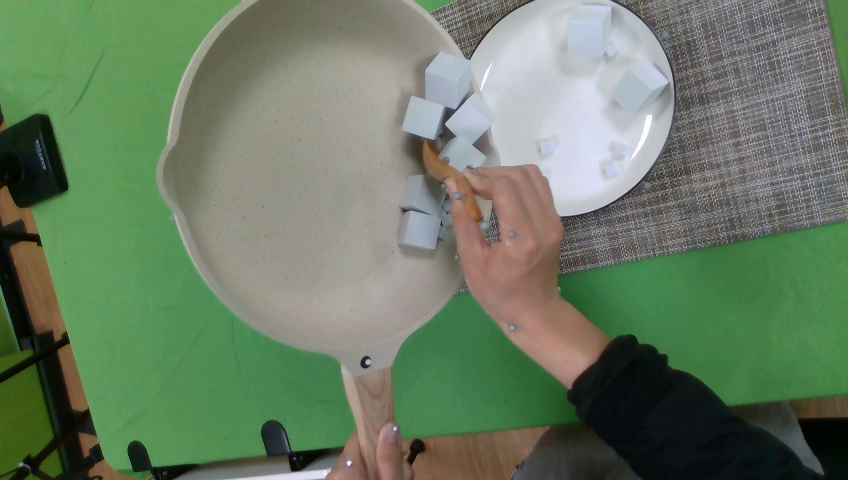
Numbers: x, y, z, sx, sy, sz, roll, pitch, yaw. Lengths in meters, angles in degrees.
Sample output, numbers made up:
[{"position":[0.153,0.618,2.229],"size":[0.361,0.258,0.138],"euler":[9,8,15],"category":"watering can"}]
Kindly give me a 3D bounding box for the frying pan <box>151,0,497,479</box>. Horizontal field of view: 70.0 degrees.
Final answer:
[{"position":[-0.057,0.043,0.501],"size":[0.102,0.308,0.488],"euler":[-4,93,52],"category":"frying pan"}]

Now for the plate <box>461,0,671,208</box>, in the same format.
[{"position":[0.128,-0.136,0.585],"size":[0.206,0.039,0.208],"euler":[4,101,23],"category":"plate"}]

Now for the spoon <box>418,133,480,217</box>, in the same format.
[{"position":[0.019,-0.054,0.473],"size":[0.021,0.192,0.042],"euler":[-27,111,-2],"category":"spoon"}]
